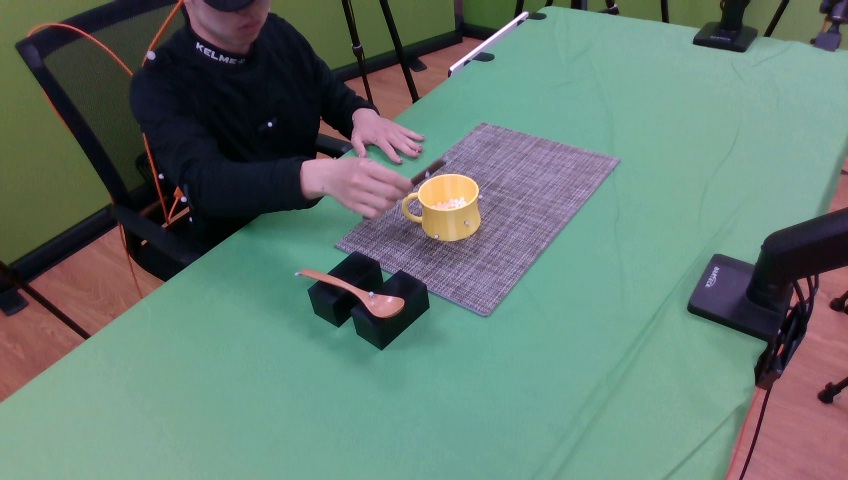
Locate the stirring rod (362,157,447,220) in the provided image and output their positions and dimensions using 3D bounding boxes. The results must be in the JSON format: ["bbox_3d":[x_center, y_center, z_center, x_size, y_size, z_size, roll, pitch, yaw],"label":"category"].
[{"bbox_3d":[-0.031,-0.071,0.862,0.175,0.014,0.006,-33,53,37],"label":"stirring rod"}]

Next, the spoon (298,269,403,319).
[{"bbox_3d":[-0.106,0.068,0.831,0.192,0.022,0.042,21,48,32],"label":"spoon"}]

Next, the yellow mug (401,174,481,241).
[{"bbox_3d":[0.026,-0.054,0.989,0.130,0.064,0.099,-1,41,8],"label":"yellow mug"}]
